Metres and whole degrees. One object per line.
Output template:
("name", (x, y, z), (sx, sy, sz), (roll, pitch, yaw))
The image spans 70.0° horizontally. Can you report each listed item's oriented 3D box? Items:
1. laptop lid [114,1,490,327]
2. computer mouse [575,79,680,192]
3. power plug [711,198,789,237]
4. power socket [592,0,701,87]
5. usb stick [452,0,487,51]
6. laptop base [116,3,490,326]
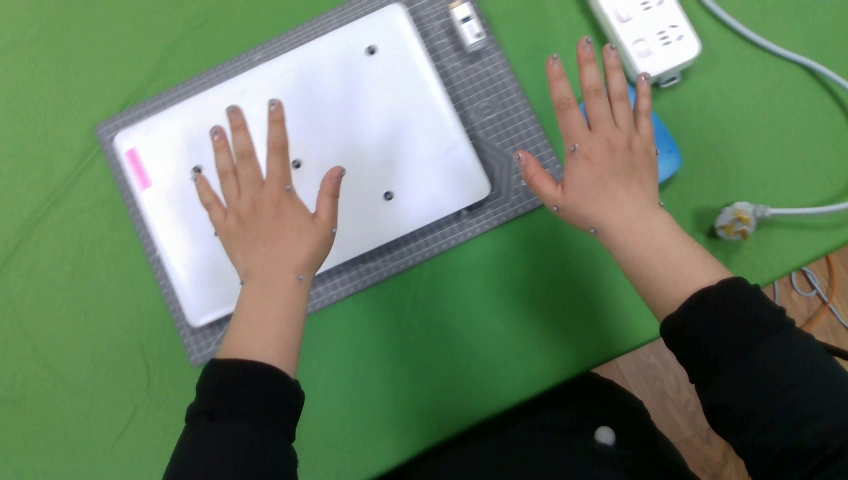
("laptop lid", (-0.134, -0.081, 0.645), (0.357, 0.013, 0.241), (-23, 86, 2))
("computer mouse", (0.209, -0.110, 0.623), (0.063, 0.041, 0.116), (-31, 79, 3))
("power plug", (0.322, -0.025, 0.595), (0.072, 0.052, 0.035), (-16, 117, 23))
("power socket", (0.213, -0.269, 0.639), (0.072, 0.033, 0.226), (-24, 83, 3))
("usb stick", (0.046, -0.236, 0.650), (0.021, 0.027, 0.059), (-25, 81, 5))
("laptop base", (-0.134, -0.083, 0.656), (0.354, 0.023, 0.235), (-25, 87, 2))
